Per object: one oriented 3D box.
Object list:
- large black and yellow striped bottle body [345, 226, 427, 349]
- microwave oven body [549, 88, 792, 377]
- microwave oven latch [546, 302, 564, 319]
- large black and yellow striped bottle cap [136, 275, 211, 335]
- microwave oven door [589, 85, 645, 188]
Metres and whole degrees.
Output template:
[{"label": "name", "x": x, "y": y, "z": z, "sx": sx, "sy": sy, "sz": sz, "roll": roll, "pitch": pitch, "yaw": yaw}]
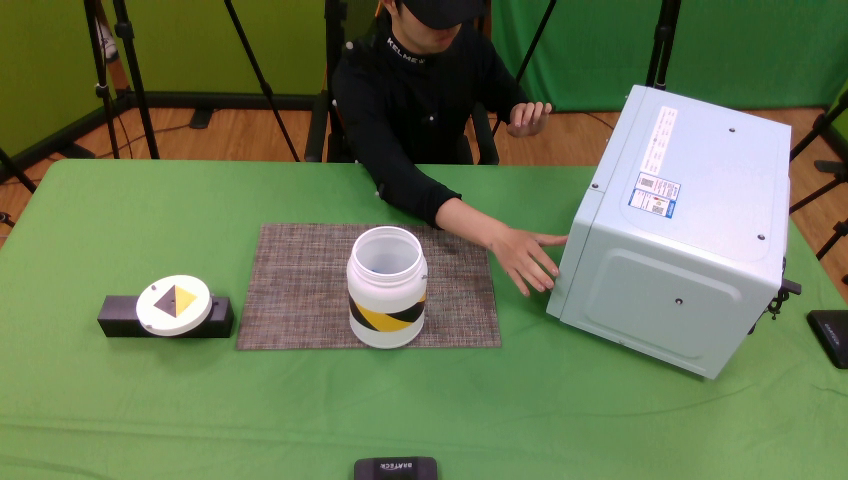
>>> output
[{"label": "large black and yellow striped bottle body", "x": -0.062, "y": 0.078, "z": 0.998, "sx": 0.131, "sy": 0.185, "sz": 0.130, "roll": 2, "pitch": 46, "yaw": -2}, {"label": "microwave oven body", "x": 0.456, "y": -0.028, "z": 1.088, "sx": 0.325, "sy": 0.261, "sz": 0.440, "roll": 20, "pitch": 47, "yaw": 16}, {"label": "microwave oven latch", "x": 0.242, "y": 0.102, "z": 1.081, "sx": 0.030, "sy": 0.029, "sz": 0.079, "roll": 22, "pitch": 48, "yaw": 18}, {"label": "large black and yellow striped bottle cap", "x": -0.412, "y": 0.105, "z": 0.998, "sx": 0.115, "sy": 0.019, "sz": 0.114, "roll": 3, "pitch": 46, "yaw": -3}, {"label": "microwave oven door", "x": 0.341, "y": -0.107, "z": 1.149, "sx": 0.039, "sy": 0.245, "sz": 0.354, "roll": 20, "pitch": 48, "yaw": 15}]
